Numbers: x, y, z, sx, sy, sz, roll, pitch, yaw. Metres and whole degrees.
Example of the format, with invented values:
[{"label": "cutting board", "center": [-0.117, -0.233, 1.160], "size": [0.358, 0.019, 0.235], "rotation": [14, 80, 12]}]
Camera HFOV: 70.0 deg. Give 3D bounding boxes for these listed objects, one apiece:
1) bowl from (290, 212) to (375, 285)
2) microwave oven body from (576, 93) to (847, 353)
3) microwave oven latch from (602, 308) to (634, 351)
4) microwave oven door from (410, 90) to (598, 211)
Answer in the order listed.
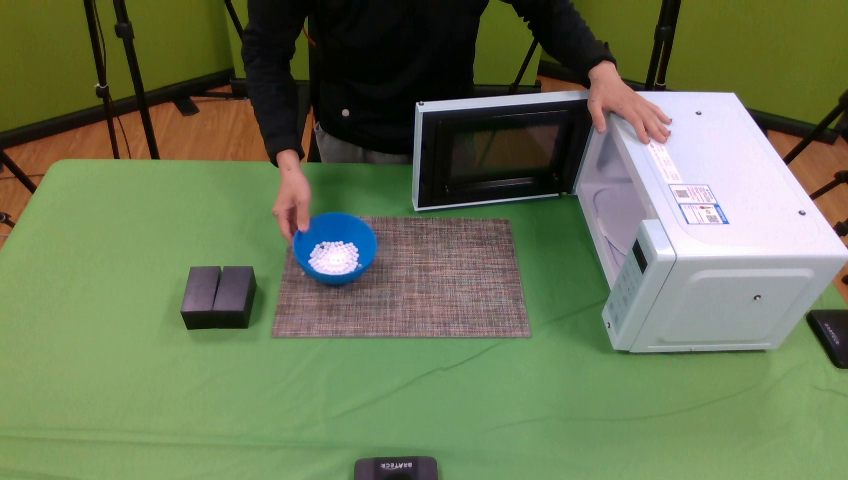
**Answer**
[{"label": "bowl", "center": [-0.167, 0.030, 1.111], "size": [0.151, 0.077, 0.150], "rotation": [5, 48, -5]}, {"label": "microwave oven body", "center": [0.475, -0.041, 1.109], "size": [0.326, 0.261, 0.438], "rotation": [-1, 45, -4]}, {"label": "microwave oven latch", "center": [0.332, 0.153, 1.044], "size": [0.030, 0.029, 0.078], "rotation": [-1, 45, -4]}, {"label": "microwave oven door", "center": [0.153, -0.176, 1.208], "size": [0.356, 0.245, 0.039], "rotation": [-7, 47, -11]}]
